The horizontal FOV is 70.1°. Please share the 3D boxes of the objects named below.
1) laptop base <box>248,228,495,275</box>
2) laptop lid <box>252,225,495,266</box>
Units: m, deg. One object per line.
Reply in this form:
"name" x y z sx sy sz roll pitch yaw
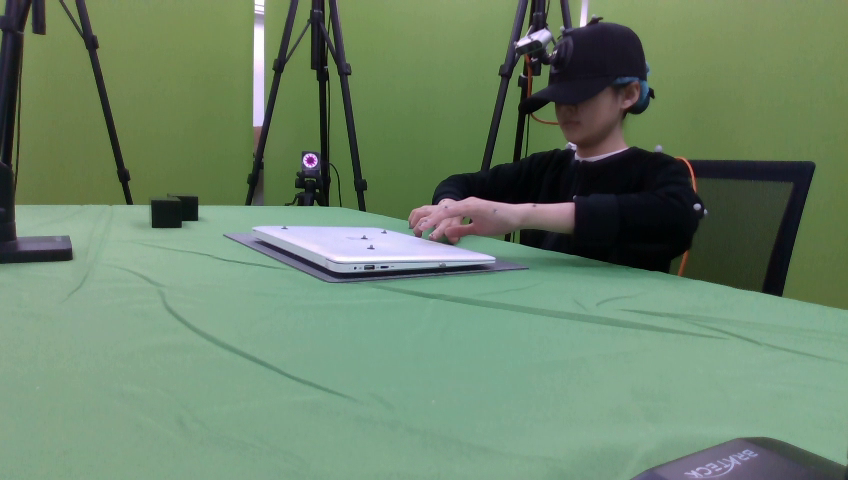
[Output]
"laptop base" -0.093 0.015 0.884 0.237 0.023 0.352 3 6 -33
"laptop lid" -0.090 0.004 0.883 0.243 0.013 0.355 1 7 -31
